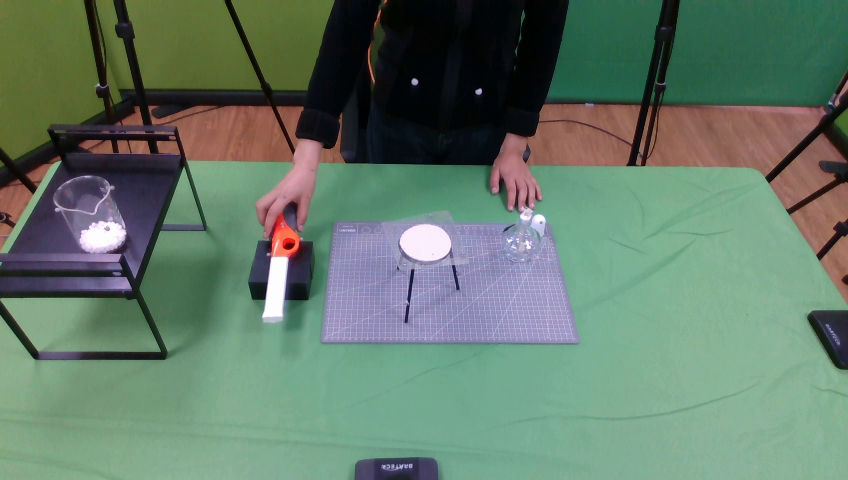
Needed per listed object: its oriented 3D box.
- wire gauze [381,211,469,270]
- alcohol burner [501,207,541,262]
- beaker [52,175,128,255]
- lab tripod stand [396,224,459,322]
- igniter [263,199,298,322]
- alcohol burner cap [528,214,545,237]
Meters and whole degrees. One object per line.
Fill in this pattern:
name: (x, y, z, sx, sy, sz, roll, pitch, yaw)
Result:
wire gauze: (0.000, 0.001, 1.023, 0.125, 0.011, 0.120, -9, 48, -13)
alcohol burner: (0.188, -0.015, 1.160, 0.078, 0.120, 0.077, 1, 44, -1)
beaker: (-0.482, -0.032, 0.888, 0.074, 0.101, 0.083, -28, 55, -27)
lab tripod stand: (-0.003, 0.052, 1.067, 0.148, 0.132, 0.147, 3, 48, -3)
igniter: (-0.257, 0.026, 1.084, 0.057, 0.025, 0.274, 0, 49, -5)
alcohol burner cap: (0.231, -0.032, 1.230, 0.034, 0.048, 0.033, 2, 46, -2)
